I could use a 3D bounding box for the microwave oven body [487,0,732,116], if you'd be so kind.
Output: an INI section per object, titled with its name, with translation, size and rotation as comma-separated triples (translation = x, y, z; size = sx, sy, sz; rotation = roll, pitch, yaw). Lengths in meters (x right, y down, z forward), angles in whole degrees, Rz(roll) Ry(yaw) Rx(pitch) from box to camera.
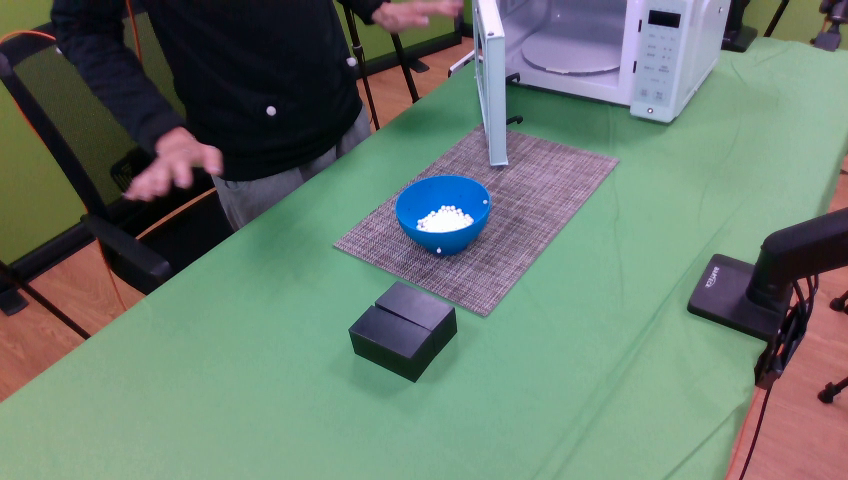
[microwave oven body]
translation = 0.377, -0.462, 1.267
size = 0.438, 0.261, 0.327
rotation = 21, 48, 30

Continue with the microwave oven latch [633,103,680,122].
[microwave oven latch]
translation = 0.443, -0.249, 1.157
size = 0.078, 0.029, 0.030
rotation = 21, 48, 30

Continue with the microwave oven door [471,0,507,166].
[microwave oven door]
translation = 0.122, -0.340, 1.153
size = 0.039, 0.245, 0.354
rotation = -5, 40, 3

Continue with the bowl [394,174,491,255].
[bowl]
translation = 0.032, -0.030, 0.949
size = 0.151, 0.077, 0.150
rotation = -4, 40, 4
